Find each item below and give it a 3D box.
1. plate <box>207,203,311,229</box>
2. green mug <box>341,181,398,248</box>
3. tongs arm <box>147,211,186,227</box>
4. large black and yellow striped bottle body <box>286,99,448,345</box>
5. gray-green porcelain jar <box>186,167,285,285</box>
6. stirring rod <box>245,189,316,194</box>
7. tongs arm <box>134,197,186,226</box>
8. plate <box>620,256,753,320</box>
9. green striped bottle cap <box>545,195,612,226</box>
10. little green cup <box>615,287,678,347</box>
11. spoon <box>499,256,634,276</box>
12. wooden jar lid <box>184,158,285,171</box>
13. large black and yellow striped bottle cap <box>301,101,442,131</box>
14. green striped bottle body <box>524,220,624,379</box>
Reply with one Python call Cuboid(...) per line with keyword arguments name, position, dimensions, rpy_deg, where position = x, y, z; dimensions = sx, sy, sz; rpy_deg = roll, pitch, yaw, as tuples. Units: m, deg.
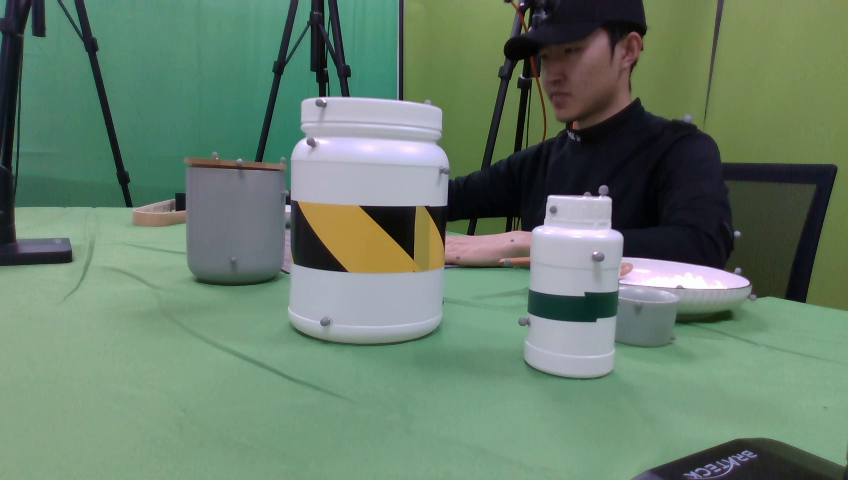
Cuboid(name="plate", position=(-0.342, -0.050, 1.259), dimensions=(0.208, 0.039, 0.207), rpy_deg=(2, 7, 0))
Cuboid(name="green mug", position=(-0.089, -0.044, 0.997), dimensions=(0.093, 0.105, 0.125), rpy_deg=(1, 7, -8))
Cuboid(name="tongs arm", position=(-0.478, -0.059, 1.322), dimensions=(0.028, 0.028, 0.388), rpy_deg=(12, 8, 7))
Cuboid(name="large black and yellow striped bottle body", position=(-0.047, -0.018, 0.501), dimensions=(0.131, 0.184, 0.130), rpy_deg=(2, 7, 0))
Cuboid(name="gray-green porcelain jar", position=(-0.212, -0.017, 0.682), dimensions=(0.106, 0.126, 0.106), rpy_deg=(2, 7, 0))
Cuboid(name="stirring rod", position=(-0.351, -0.120, 1.490), dimensions=(0.177, 0.014, 0.006), rpy_deg=(-2, 6, -29))
Cuboid(name="tongs arm", position=(-0.556, -0.066, 1.320), dimensions=(0.051, 0.026, 0.384), rpy_deg=(7, 7, -5))
Cuboid(name="plate", position=(0.234, 0.049, 0.651), dimensions=(0.209, 0.038, 0.209), rpy_deg=(2, 7, 0))
Cuboid(name="green striped bottle cap", position=(0.106, -0.020, 0.415), dimensions=(0.044, 0.020, 0.044), rpy_deg=(2, 4, 0))
Cuboid(name="little green cup", position=(0.180, 0.064, 0.506), dimensions=(0.061, 0.038, 0.061), rpy_deg=(1, 8, 0))
Cuboid(name="spoon", position=(0.162, 0.027, 0.679), dimensions=(0.195, 0.021, 0.041), rpy_deg=(8, 2, -30))
Cuboid(name="wooden jar lid", position=(-0.210, -0.078, 0.674), dimensions=(0.108, 0.020, 0.108), rpy_deg=(5, 6, 0))
Cuboid(name="large black and yellow striped bottle cap", position=(-0.042, -0.100, 0.491), dimensions=(0.115, 0.019, 0.115), rpy_deg=(1, 8, 0))
Cuboid(name="green striped bottle body", position=(0.104, 0.031, 0.422), dimensions=(0.063, 0.119, 0.063), rpy_deg=(2, 7, 0))
